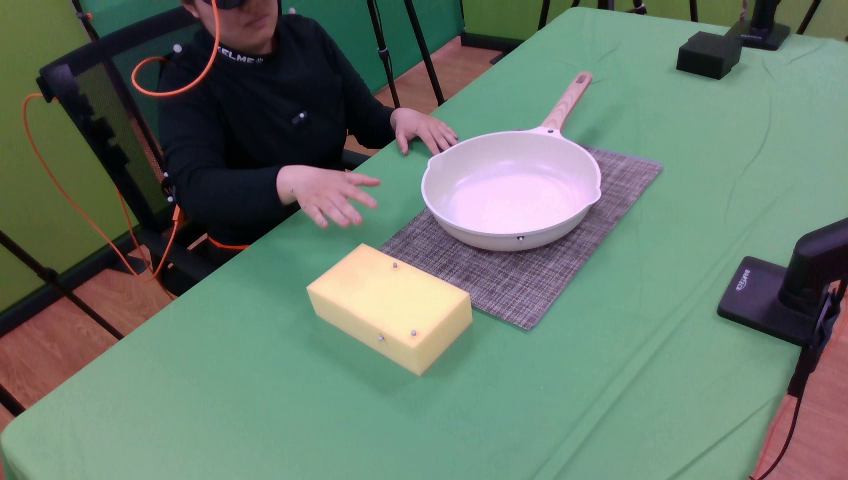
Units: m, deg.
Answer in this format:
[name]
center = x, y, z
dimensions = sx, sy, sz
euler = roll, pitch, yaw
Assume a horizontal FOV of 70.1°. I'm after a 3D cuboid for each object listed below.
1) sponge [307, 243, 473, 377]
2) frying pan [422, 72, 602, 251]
[sponge]
center = -0.050, 0.092, 0.858
dimensions = 0.205, 0.061, 0.118
euler = 23, 50, 32
[frying pan]
center = 0.199, -0.155, 1.062
dimensions = 0.304, 0.103, 0.488
euler = 19, 56, 28
